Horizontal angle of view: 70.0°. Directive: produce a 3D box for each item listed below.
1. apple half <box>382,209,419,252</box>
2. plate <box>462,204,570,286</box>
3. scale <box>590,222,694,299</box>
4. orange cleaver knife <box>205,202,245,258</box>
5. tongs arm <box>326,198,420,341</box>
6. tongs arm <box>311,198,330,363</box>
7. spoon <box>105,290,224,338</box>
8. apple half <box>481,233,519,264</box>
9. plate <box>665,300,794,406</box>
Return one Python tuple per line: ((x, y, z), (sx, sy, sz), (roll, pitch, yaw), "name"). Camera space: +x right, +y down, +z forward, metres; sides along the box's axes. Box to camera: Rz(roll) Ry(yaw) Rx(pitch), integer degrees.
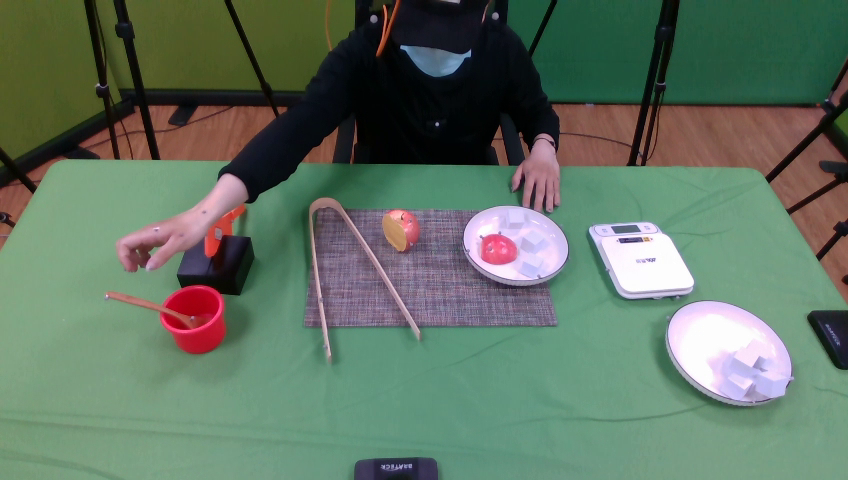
((-0.039, -0.022, 1.175), (0.053, 0.075, 0.080), (-27, 49, -31), "apple half")
((0.177, 0.013, 1.180), (0.209, 0.038, 0.208), (2, 46, -2), "plate")
((0.424, 0.031, 1.189), (0.149, 0.032, 0.199), (-3, 46, -7), "scale")
((-0.376, -0.024, 1.151), (0.012, 0.077, 0.210), (0, 16, 2), "orange cleaver knife")
((-0.101, 0.042, 1.139), (0.028, 0.028, 0.385), (-22, 51, -17), "tongs arm")
((-0.179, 0.059, 1.117), (0.051, 0.026, 0.382), (-9, 46, -11), "tongs arm")
((-0.411, 0.115, 0.971), (0.195, 0.021, 0.041), (32, 36, -37), "spoon")
((0.147, 0.010, 1.174), (0.081, 0.033, 0.081), (0, 46, 0), "apple half")
((0.513, 0.194, 1.033), (0.208, 0.039, 0.206), (2, 46, -2), "plate")
